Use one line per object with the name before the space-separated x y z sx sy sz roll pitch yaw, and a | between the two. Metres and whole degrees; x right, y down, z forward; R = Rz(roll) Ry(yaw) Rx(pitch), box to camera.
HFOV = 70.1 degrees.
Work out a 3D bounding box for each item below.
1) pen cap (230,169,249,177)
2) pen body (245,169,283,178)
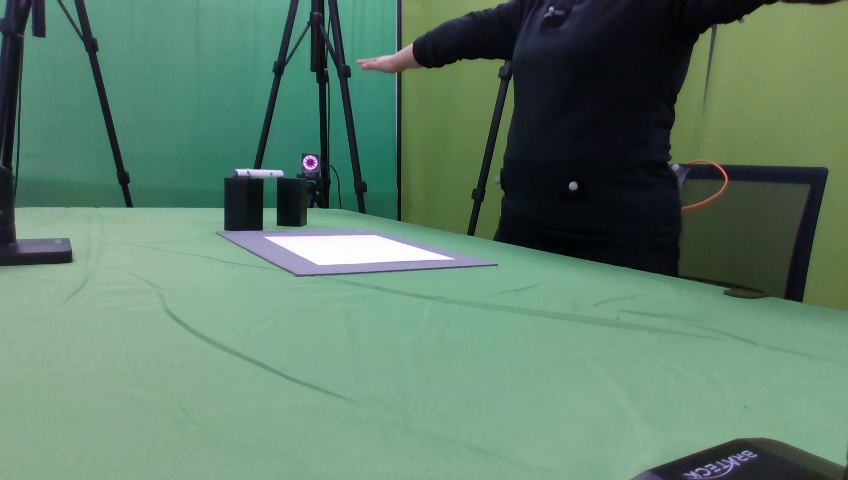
pen cap | -0.347 -0.125 1.138 0.017 0.017 0.038 6 8 21
pen body | -0.325 -0.130 1.195 0.017 0.017 0.144 6 7 22
